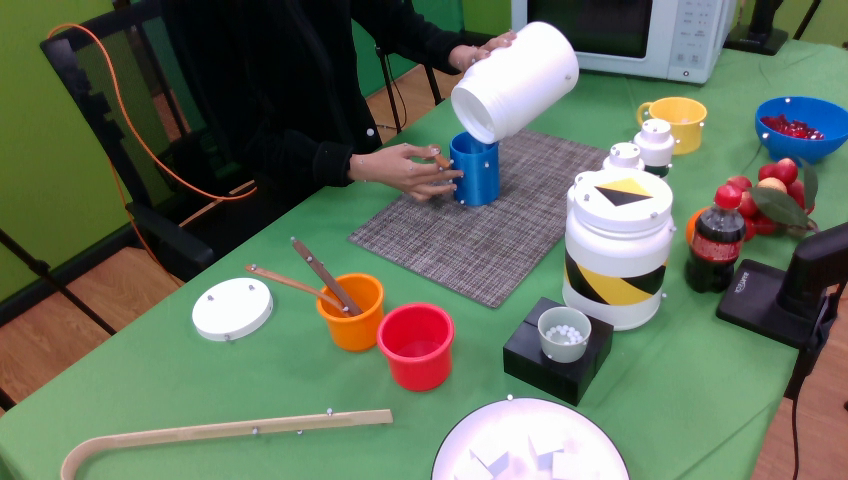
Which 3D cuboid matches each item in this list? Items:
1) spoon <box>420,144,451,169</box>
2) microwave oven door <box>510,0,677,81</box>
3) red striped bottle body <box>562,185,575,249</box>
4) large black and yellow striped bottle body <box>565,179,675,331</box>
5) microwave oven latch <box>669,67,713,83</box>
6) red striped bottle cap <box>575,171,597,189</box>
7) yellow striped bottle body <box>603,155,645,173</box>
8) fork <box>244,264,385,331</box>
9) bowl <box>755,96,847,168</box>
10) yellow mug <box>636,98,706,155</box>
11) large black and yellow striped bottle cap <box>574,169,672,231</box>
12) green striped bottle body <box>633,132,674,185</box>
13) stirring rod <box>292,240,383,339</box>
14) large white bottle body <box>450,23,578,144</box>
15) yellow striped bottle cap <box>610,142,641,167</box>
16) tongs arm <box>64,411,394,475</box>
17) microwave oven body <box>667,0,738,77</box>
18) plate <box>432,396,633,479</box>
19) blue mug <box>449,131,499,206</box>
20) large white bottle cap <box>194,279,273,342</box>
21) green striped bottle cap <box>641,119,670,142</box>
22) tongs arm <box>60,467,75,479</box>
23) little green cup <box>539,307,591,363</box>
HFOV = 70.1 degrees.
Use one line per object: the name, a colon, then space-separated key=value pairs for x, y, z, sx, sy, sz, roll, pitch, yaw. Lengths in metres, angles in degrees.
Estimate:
spoon: x=0.020 y=-0.140 z=1.019 sx=0.041 sy=0.022 sz=0.193 roll=-31 pitch=15 yaw=1
microwave oven door: x=0.354 y=-0.478 z=1.290 sx=0.353 sy=0.245 sz=0.039 roll=15 pitch=45 yaw=25
red striped bottle body: x=0.246 y=-0.041 z=0.910 sx=0.063 sy=0.120 sz=0.063 roll=0 pitch=38 yaw=1
large black and yellow striped bottle body: x=0.254 y=0.014 z=0.793 sx=0.131 sy=0.185 sz=0.130 roll=-5 pitch=40 yaw=4
microwave oven latch: x=0.556 y=-0.349 z=1.261 sx=0.078 sy=0.029 sz=0.030 roll=16 pitch=46 yaw=27
red striped bottle cap: x=0.242 y=-0.081 z=0.876 sx=0.044 sy=0.018 sz=0.044 roll=-5 pitch=44 yaw=5
yellow striped bottle body: x=0.314 y=-0.091 z=0.957 sx=0.063 sy=0.121 sz=0.062 roll=-4 pitch=40 yaw=4
fork: x=-0.142 y=0.078 z=0.806 sx=0.209 sy=0.018 sz=0.028 roll=30 pitch=34 yaw=-24
bowl: x=0.645 y=-0.177 z=1.041 sx=0.151 sy=0.077 sz=0.150 roll=-5 pitch=40 yaw=4
yellow mug: x=0.453 y=-0.217 z=1.128 sx=0.100 sy=0.064 sz=0.129 roll=-34 pitch=46 yaw=-27
large black and yellow striped bottle cap: x=0.242 y=-0.051 z=0.738 sx=0.115 sy=0.019 sz=0.114 roll=-4 pitch=37 yaw=3
green striped bottle body: x=0.376 y=-0.135 z=1.001 sx=0.063 sy=0.120 sz=0.063 roll=-5 pitch=40 yaw=5
stirring rod: x=-0.118 y=0.068 z=0.825 sx=0.176 sy=0.006 sz=0.014 roll=48 pitch=59 yaw=-4
large white bottle body: x=0.146 y=-0.254 z=0.995 sx=0.185 sy=0.131 sz=0.129 roll=-39 pitch=48 yaw=-14
yellow striped bottle cap: x=0.308 y=-0.130 z=0.925 sx=0.044 sy=0.019 sz=0.044 roll=-5 pitch=43 yaw=5
tongs arm: x=-0.228 y=0.241 z=0.715 sx=0.385 sy=0.026 sz=0.050 roll=-5 pitch=44 yaw=5
microwave oven body: x=0.462 y=-0.552 z=1.369 sx=0.439 sy=0.261 sz=0.326 roll=14 pitch=45 yaw=26
plate: x=0.112 y=0.261 z=0.634 sx=0.209 sy=0.038 sz=0.208 roll=-5 pitch=40 yaw=4
blue mug: x=0.090 y=-0.134 z=1.050 sx=0.082 sy=0.106 sz=0.116 roll=2 pitch=41 yaw=10
large white bottle cap: x=-0.284 y=0.103 z=0.902 sx=0.115 sy=0.018 sz=0.114 roll=-4 pitch=40 yaw=4
green striped bottle cap: x=0.371 y=-0.175 z=0.968 sx=0.044 sy=0.020 sz=0.044 roll=-4 pitch=42 yaw=4
tongs arm: x=-0.239 y=0.301 z=0.649 sx=0.386 sy=0.028 sz=0.028 roll=6 pitch=49 yaw=17
little green cup: x=0.167 y=0.114 z=0.721 sx=0.061 sy=0.039 sz=0.061 roll=-4 pitch=43 yaw=4
